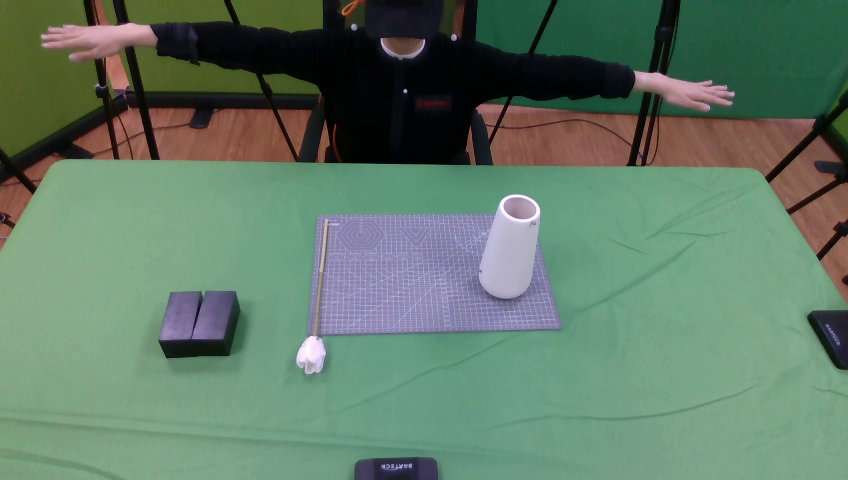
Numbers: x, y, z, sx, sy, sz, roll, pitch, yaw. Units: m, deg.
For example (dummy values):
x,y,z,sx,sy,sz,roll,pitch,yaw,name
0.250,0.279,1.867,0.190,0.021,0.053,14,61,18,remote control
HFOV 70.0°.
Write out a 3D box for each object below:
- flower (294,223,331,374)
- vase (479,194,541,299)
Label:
x,y,z,sx,sy,sz,roll,pitch,yaw,name
-0.190,0.087,1.104,0.044,0.038,0.359,28,35,-23,flower
0.152,0.015,1.066,0.098,0.201,0.097,1,47,-1,vase
